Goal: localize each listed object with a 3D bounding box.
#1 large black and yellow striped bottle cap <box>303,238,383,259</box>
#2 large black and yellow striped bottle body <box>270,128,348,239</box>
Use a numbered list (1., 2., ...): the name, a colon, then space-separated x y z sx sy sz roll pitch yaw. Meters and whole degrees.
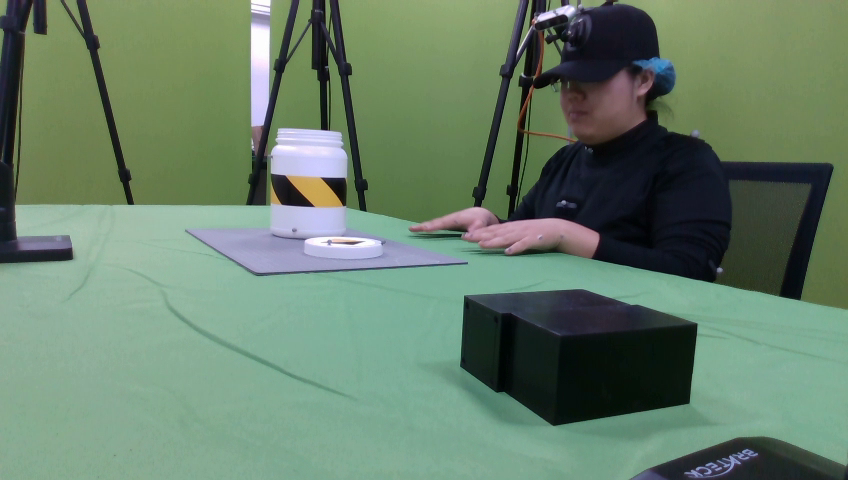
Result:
1. large black and yellow striped bottle cap: -0.117 0.011 0.880 0.115 0.019 0.115 2 6 0
2. large black and yellow striped bottle body: -0.200 -0.099 1.053 0.131 0.184 0.130 3 8 0
